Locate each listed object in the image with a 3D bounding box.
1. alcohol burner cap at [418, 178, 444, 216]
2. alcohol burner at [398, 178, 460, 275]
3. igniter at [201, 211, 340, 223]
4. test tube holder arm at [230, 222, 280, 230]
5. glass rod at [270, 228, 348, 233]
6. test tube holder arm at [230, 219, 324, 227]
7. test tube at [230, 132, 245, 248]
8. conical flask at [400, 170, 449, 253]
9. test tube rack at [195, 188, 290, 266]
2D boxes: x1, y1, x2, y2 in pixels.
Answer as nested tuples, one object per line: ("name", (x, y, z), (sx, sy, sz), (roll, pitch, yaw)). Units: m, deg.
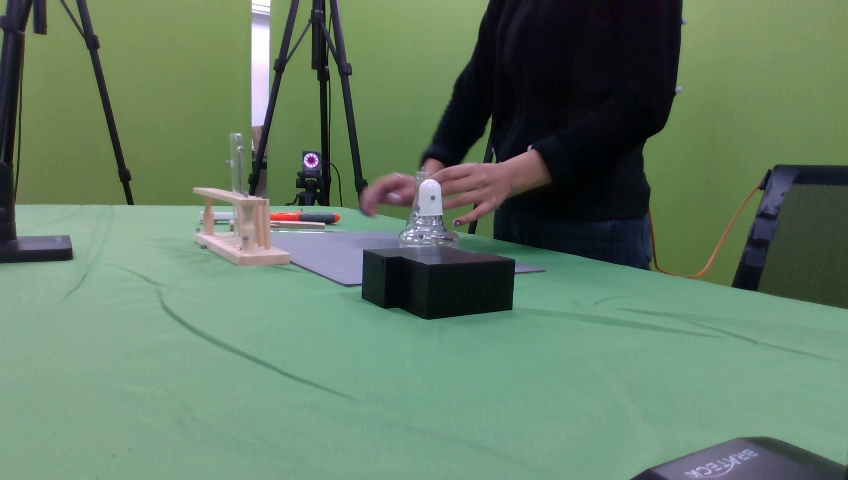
("alcohol burner cap", (0.007, -0.053, 0.745), (0.034, 0.048, 0.034), (-3, 6, 1))
("alcohol burner", (0.007, -0.017, 0.751), (0.078, 0.119, 0.078), (3, 9, 0))
("igniter", (-0.311, -0.048, 1.243), (0.278, 0.025, 0.057), (-1, -2, -24))
("test tube holder arm", (-0.312, -0.025, 1.118), (0.088, 0.015, 0.010), (-1, 45, -30))
("glass rod", (-0.234, -0.017, 1.105), (0.201, 0.008, 0.008), (1, 7, -26))
("test tube holder arm", (-0.275, -0.031, 1.145), (0.179, 0.015, 0.013), (-3, 45, -31))
("test tube", (-0.242, -0.065, 0.789), (0.017, 0.150, 0.017), (-1, 7, 0))
("conical flask", (0.003, -0.044, 0.911), (0.075, 0.122, 0.075), (2, 6, 0))
("test tube rack", (-0.266, -0.025, 0.864), (0.067, 0.085, 0.241), (-2, 9, -33))
